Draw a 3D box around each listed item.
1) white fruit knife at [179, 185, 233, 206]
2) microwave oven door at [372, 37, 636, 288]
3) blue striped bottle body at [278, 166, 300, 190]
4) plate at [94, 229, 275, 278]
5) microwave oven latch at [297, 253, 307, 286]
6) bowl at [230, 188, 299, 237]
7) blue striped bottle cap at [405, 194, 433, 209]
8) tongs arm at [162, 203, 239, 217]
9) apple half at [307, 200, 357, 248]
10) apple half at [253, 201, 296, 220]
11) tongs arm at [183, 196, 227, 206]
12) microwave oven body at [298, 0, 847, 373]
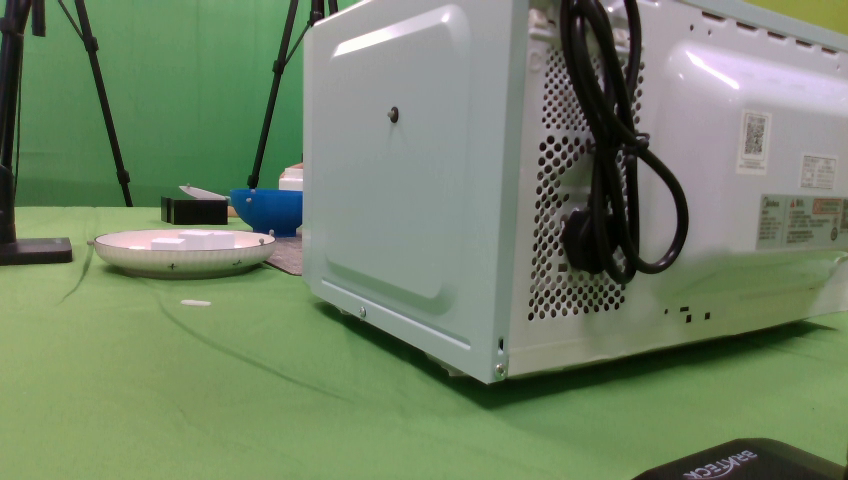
[{"bbox_3d":[-0.413,-0.081,1.270,0.208,0.027,0.016,18,13,-41],"label":"white fruit knife"},{"bbox_3d":[0.109,-0.080,0.686,0.358,0.243,0.039,-2,9,-33],"label":"microwave oven door"},{"bbox_3d":[-0.270,-0.093,1.259,0.063,0.121,0.063,1,11,0],"label":"blue striped bottle body"},{"bbox_3d":[-0.291,0.016,0.750,0.208,0.039,0.207,2,7,0],"label":"plate"},{"bbox_3d":[-0.082,0.028,0.582,0.079,0.029,0.030,-1,7,-33],"label":"microwave oven latch"},{"bbox_3d":[-0.265,-0.048,1.065,0.151,0.077,0.151,3,8,0],"label":"bowl"},{"bbox_3d":[-0.007,-0.061,0.955,0.044,0.020,0.044,8,5,0],"label":"blue striped bottle cap"},{"bbox_3d":[-0.396,-0.067,1.399,0.389,0.028,0.028,1,5,-15],"label":"tongs arm"},{"bbox_3d":[-0.135,-0.024,0.941,0.053,0.074,0.081,13,8,39],"label":"apple half"},{"bbox_3d":[-0.264,-0.053,1.066,0.081,0.033,0.081,1,8,0],"label":"apple half"},{"bbox_3d":[-0.404,-0.081,1.479,0.385,0.026,0.050,3,8,-2],"label":"tongs arm"},{"bbox_3d":[0.151,-0.055,0.542,0.444,0.260,0.324,-2,7,-33],"label":"microwave oven body"}]
